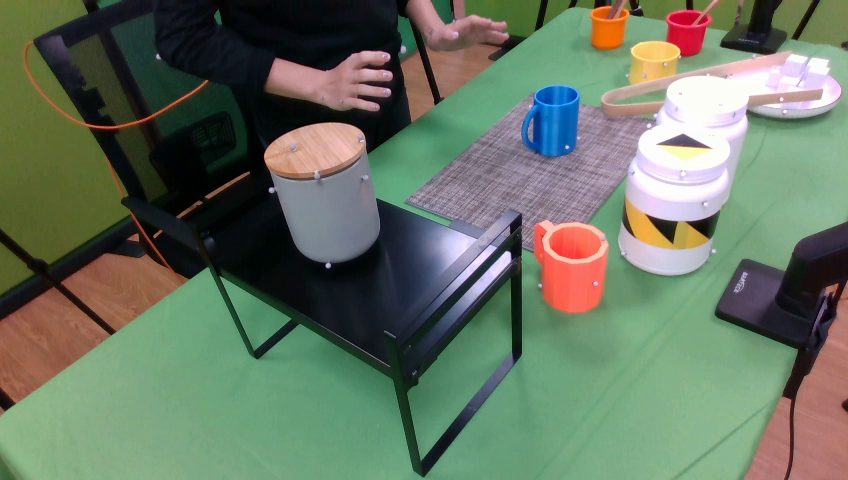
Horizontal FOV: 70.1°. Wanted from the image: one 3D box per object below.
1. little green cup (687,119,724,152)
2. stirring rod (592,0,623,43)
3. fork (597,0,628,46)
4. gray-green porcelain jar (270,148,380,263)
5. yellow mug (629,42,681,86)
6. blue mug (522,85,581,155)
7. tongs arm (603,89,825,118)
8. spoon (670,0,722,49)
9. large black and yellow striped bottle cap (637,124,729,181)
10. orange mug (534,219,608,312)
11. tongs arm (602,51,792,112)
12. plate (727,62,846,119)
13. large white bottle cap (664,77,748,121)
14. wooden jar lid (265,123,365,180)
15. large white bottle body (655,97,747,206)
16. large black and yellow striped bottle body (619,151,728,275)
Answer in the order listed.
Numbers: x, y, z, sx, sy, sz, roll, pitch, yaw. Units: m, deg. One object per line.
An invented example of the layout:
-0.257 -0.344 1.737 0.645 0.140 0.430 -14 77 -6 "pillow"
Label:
0.514 -0.191 1.109 0.061 0.039 0.061 -5 40 5 "little green cup"
0.460 -0.557 1.461 0.014 0.176 0.006 35 11 22 "stirring rod"
0.479 -0.558 1.455 0.028 0.019 0.207 35 100 38 "fork"
-0.109 -0.045 0.692 0.106 0.127 0.105 -4 40 4 "gray-green porcelain jar"
0.495 -0.389 1.321 0.100 0.064 0.130 -14 40 -6 "yellow mug"
0.233 -0.218 1.127 0.117 0.106 0.081 -23 43 -16 "blue mug"
0.546 -0.262 1.163 0.386 0.028 0.028 -1 49 18 "tongs arm"
0.639 -0.510 1.380 0.193 0.022 0.041 -49 40 19 "spoon"
0.346 -0.119 0.810 0.115 0.019 0.114 -5 41 5 "large black and yellow striped bottle cap"
0.200 0.027 0.858 0.084 0.101 0.125 -24 47 -18 "orange mug"
0.552 -0.320 1.224 0.384 0.027 0.050 -10 43 7 "tongs arm"
0.709 -0.292 1.197 0.207 0.039 0.206 -4 40 4 "plate"
0.421 -0.212 0.905 0.115 0.018 0.114 -4 40 4 "large white bottle cap"
-0.115 -0.092 0.651 0.108 0.021 0.108 -5 38 4 "wooden jar lid"
0.430 -0.148 0.959 0.130 0.185 0.130 -4 41 4 "large white bottle body"
0.354 -0.056 0.865 0.131 0.185 0.130 -4 41 4 "large black and yellow striped bottle body"
